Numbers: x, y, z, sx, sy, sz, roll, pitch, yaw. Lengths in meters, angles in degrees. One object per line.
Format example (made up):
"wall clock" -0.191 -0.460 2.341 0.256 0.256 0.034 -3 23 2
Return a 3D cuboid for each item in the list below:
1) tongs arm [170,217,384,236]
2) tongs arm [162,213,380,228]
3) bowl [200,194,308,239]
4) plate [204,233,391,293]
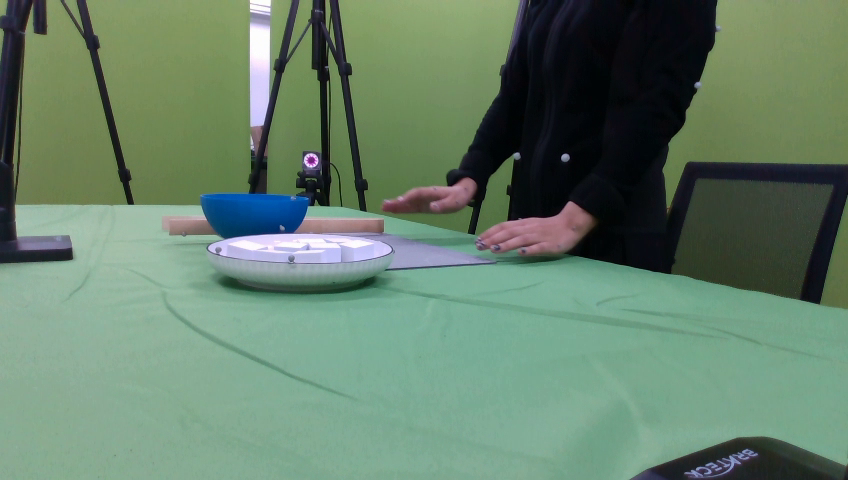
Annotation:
"tongs arm" -0.233 -0.024 1.039 0.387 0.026 0.050 -2 5 -32
"tongs arm" -0.271 -0.033 1.113 0.389 0.027 0.028 0 1 -18
"bowl" -0.245 -0.025 0.879 0.151 0.077 0.151 2 7 0
"plate" -0.143 0.025 0.697 0.208 0.039 0.207 3 9 0
